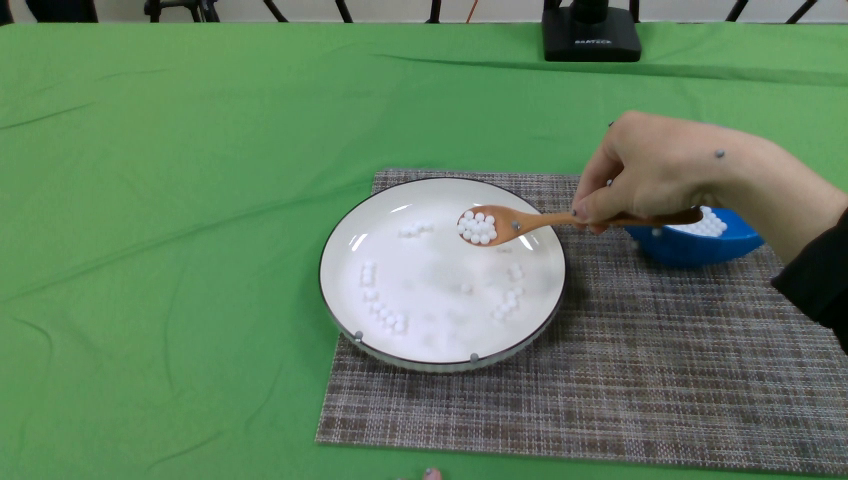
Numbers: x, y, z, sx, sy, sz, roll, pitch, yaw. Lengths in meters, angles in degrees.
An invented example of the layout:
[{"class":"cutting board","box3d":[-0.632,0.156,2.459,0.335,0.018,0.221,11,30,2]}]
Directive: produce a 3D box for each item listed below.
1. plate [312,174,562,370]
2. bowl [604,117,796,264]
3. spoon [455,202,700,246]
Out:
[{"class":"plate","box3d":[0.011,0.025,0.520,0.207,0.039,0.205,-1,48,2]},{"class":"bowl","box3d":[0.229,-0.032,0.531,0.151,0.077,0.150,-1,48,2]},{"class":"spoon","box3d":[0.105,-0.015,0.457,0.192,0.022,0.041,-2,57,42]}]
